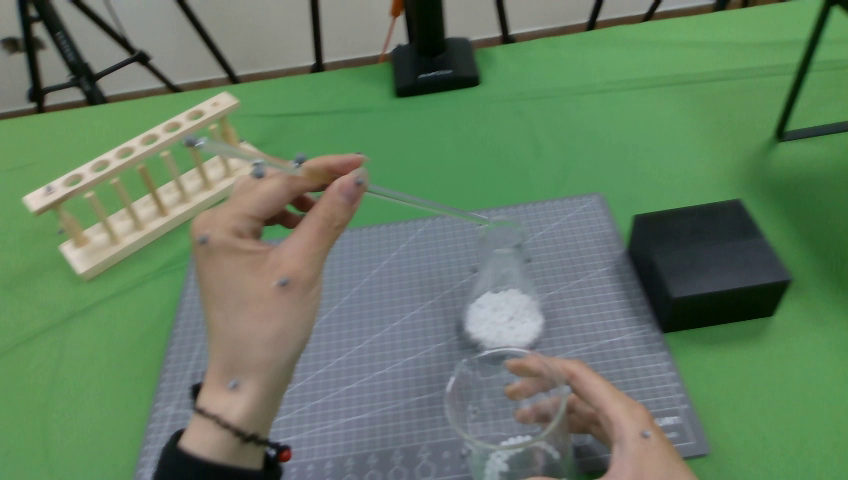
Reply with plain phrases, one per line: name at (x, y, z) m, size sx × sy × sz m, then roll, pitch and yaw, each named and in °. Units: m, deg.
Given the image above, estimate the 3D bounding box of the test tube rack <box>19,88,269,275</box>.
test tube rack at (-0.306, -0.072, 0.689) m, size 0.242 × 0.086 × 0.066 m, roll -38°, pitch 52°, yaw -25°

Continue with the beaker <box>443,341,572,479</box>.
beaker at (0.057, 0.124, 0.399) m, size 0.074 × 0.101 × 0.083 m, roll -34°, pitch 41°, yaw -20°

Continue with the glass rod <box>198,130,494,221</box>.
glass rod at (-0.029, -0.032, 0.345) m, size 0.201 × 0.008 × 0.008 m, roll 13°, pitch 31°, yaw -40°

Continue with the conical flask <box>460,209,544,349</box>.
conical flask at (0.064, 0.030, 0.508) m, size 0.075 × 0.123 × 0.074 m, roll -4°, pitch 46°, yaw 5°
